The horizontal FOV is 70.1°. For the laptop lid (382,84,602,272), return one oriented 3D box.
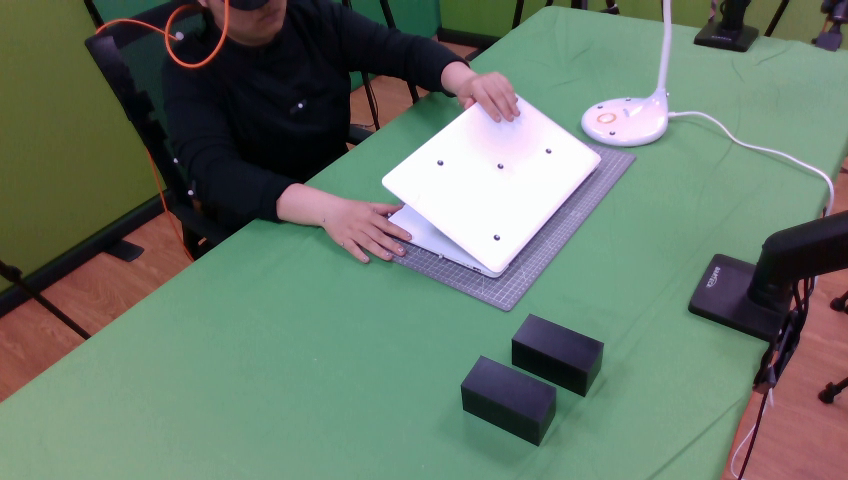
[{"bbox_3d":[0.125,-0.121,0.996,0.241,0.013,0.358,41,55,11],"label":"laptop lid"}]

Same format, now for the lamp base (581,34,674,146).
[{"bbox_3d":[0.393,-0.291,1.129,0.180,0.181,0.159,-11,41,-8],"label":"lamp base"}]

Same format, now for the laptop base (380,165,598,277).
[{"bbox_3d":[0.122,-0.077,1.043,0.233,0.023,0.355,20,47,33],"label":"laptop base"}]
